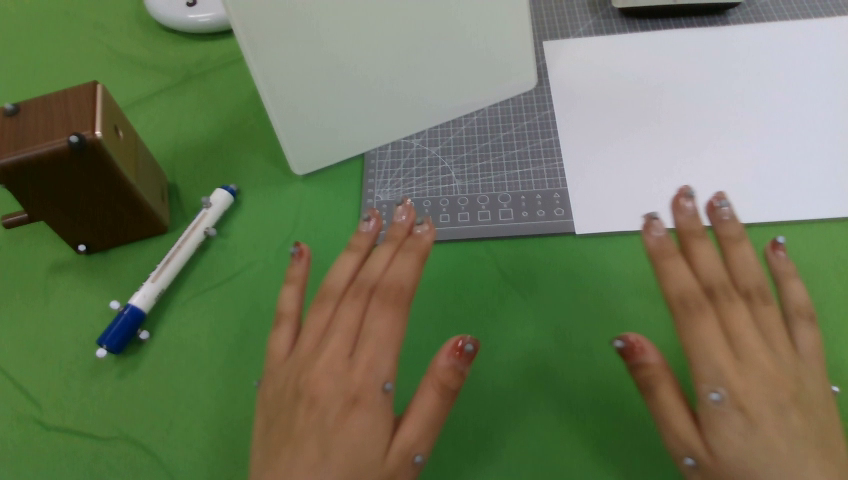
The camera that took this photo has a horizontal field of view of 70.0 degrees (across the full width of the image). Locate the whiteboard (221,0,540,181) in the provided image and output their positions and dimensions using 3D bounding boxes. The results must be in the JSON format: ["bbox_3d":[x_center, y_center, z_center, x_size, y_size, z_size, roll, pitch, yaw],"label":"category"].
[{"bbox_3d":[-0.057,-0.240,0.455,0.217,0.308,0.142,-21,37,-7],"label":"whiteboard"}]

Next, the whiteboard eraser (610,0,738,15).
[{"bbox_3d":[0.222,-0.230,0.539,0.112,0.042,0.055,-1,57,6],"label":"whiteboard eraser"}]

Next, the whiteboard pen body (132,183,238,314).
[{"bbox_3d":[-0.177,0.013,0.437,0.017,0.017,0.140,16,58,17],"label":"whiteboard pen body"}]

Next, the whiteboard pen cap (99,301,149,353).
[{"bbox_3d":[-0.200,0.057,0.406,0.018,0.018,0.033,16,57,17],"label":"whiteboard pen cap"}]

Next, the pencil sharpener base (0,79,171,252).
[{"bbox_3d":[-0.240,-0.048,0.431,0.077,0.108,0.060,-17,56,-5],"label":"pencil sharpener base"}]

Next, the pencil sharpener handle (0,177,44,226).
[{"bbox_3d":[-0.289,-0.038,0.414,0.030,0.068,0.035,-17,44,-5],"label":"pencil sharpener handle"}]

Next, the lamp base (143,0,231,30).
[{"bbox_3d":[-0.227,-0.320,0.567,0.177,0.182,0.160,33,65,27],"label":"lamp base"}]
